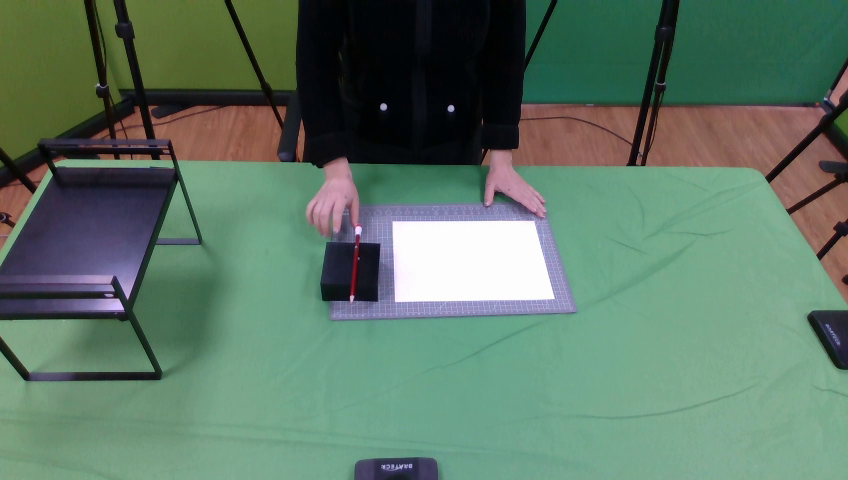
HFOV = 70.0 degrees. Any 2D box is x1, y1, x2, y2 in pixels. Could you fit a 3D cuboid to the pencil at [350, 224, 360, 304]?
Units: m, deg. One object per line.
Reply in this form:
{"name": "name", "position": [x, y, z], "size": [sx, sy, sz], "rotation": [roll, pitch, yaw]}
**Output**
{"name": "pencil", "position": [-0.124, 0.040, 1.086], "size": [0.012, 0.012, 0.193], "rotation": [1, 46, -3]}
